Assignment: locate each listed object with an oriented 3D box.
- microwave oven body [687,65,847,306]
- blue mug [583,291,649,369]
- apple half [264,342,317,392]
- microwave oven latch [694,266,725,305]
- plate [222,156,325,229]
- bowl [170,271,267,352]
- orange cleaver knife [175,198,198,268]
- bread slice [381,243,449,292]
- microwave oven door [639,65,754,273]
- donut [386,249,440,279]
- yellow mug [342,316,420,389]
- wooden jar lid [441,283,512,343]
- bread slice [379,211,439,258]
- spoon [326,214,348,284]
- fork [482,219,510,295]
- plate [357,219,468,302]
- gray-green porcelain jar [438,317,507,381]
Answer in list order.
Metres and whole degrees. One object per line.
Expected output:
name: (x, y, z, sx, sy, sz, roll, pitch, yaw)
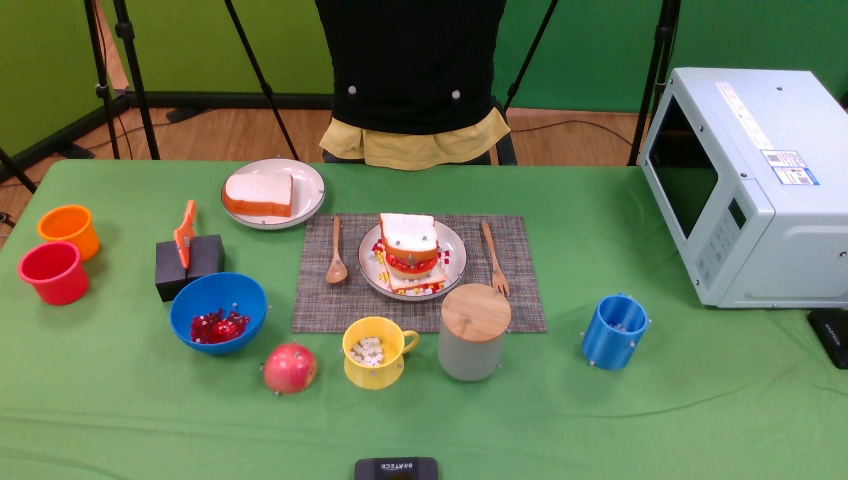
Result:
microwave oven body: (0.669, -0.111, 1.176, 0.326, 0.261, 0.439, 0, 46, -3)
blue mug: (0.324, 0.142, 1.023, 0.082, 0.106, 0.116, 15, 47, 11)
apple half: (-0.214, 0.198, 0.970, 0.074, 0.053, 0.080, 19, 48, 11)
microwave oven latch: (0.523, 0.082, 1.115, 0.030, 0.029, 0.078, 3, 46, 0)
plate: (-0.308, -0.095, 1.251, 0.209, 0.038, 0.208, 2, 47, -2)
bowl: (-0.333, 0.132, 1.006, 0.151, 0.077, 0.150, 2, 46, -2)
orange cleaver knife: (-0.438, -0.017, 1.138, 0.012, 0.077, 0.210, -13, 27, -7)
bread slice: (-0.026, 0.039, 1.139, 0.107, 0.018, 0.133, -12, 47, -16)
microwave oven door: (0.522, -0.147, 1.193, 0.039, 0.245, 0.353, 0, 47, -3)
donut: (-0.021, 0.029, 1.110, 0.099, 0.048, 0.098, 2, 46, -2)
yellow mug: (-0.067, 0.178, 0.990, 0.131, 0.064, 0.099, -16, 49, -19)
wooden jar lid: (0.080, 0.114, 0.931, 0.108, 0.021, 0.107, 1, 49, 0)
bread slice: (-0.024, -0.012, 1.064, 0.105, 0.019, 0.130, 3, 33, -10)
spoon: (-0.167, 0.013, 1.164, 0.041, 0.022, 0.192, -18, 47, 11)
fork: (0.136, 0.029, 1.172, 0.028, 0.019, 0.206, -10, 48, 2)
plate: (-0.021, 0.037, 1.141, 0.208, 0.039, 0.206, 2, 46, -2)
gray-green porcelain jar: (0.076, 0.158, 0.977, 0.106, 0.127, 0.105, 2, 47, -2)
